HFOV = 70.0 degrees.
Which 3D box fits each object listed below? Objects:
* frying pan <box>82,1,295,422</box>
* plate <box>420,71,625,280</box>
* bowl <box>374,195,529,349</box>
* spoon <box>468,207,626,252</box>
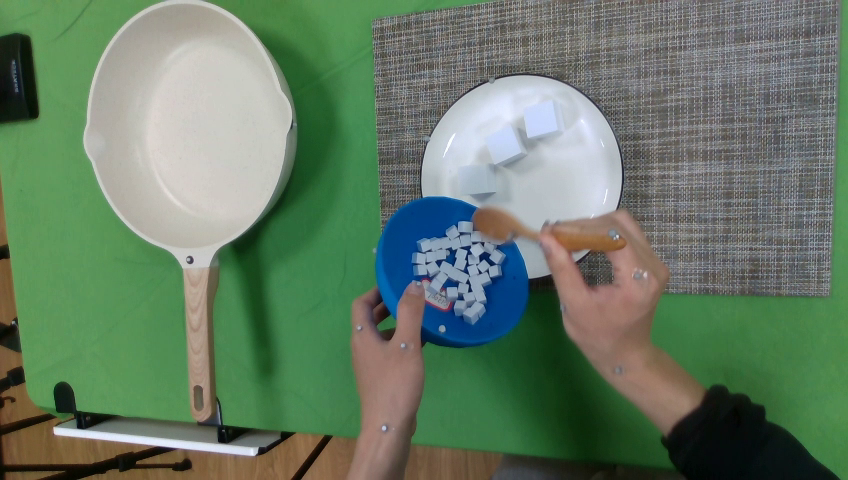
[{"bbox_3d":[-0.275,-0.028,0.732,0.305,0.103,0.487,-2,87,21],"label":"frying pan"},{"bbox_3d":[0.099,-0.064,0.621,0.207,0.039,0.208,2,97,20],"label":"plate"},{"bbox_3d":[0.015,0.041,0.574,0.151,0.151,0.077,50,143,9],"label":"bowl"},{"bbox_3d":[0.088,-0.004,0.477,0.021,0.192,0.042,-41,111,-13],"label":"spoon"}]
